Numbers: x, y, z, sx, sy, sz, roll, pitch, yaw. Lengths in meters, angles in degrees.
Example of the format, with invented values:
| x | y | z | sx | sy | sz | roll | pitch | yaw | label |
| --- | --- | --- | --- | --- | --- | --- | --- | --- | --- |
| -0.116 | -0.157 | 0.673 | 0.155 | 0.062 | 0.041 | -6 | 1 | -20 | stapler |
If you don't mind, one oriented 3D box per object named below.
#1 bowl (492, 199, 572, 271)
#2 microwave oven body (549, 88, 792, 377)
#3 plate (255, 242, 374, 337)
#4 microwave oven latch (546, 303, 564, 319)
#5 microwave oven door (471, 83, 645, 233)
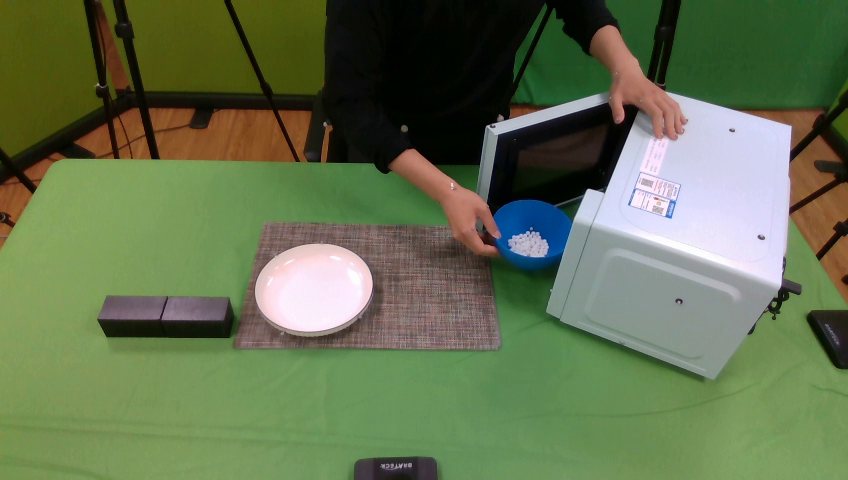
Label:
| x | y | z | sx | sy | sz | roll | pitch | yaw | label |
| --- | --- | --- | --- | --- | --- | --- | --- | --- | --- |
| 0.195 | 0.003 | 1.119 | 0.151 | 0.077 | 0.150 | 1 | 47 | -1 | bowl |
| 0.456 | -0.028 | 1.088 | 0.325 | 0.261 | 0.440 | 20 | 47 | 16 | microwave oven body |
| -0.192 | 0.090 | 1.079 | 0.208 | 0.039 | 0.206 | 2 | 46 | -2 | plate |
| 0.242 | 0.102 | 1.081 | 0.030 | 0.029 | 0.079 | 21 | 48 | 17 | microwave oven latch |
| 0.264 | -0.163 | 1.197 | 0.356 | 0.245 | 0.039 | -19 | 50 | -21 | microwave oven door |
